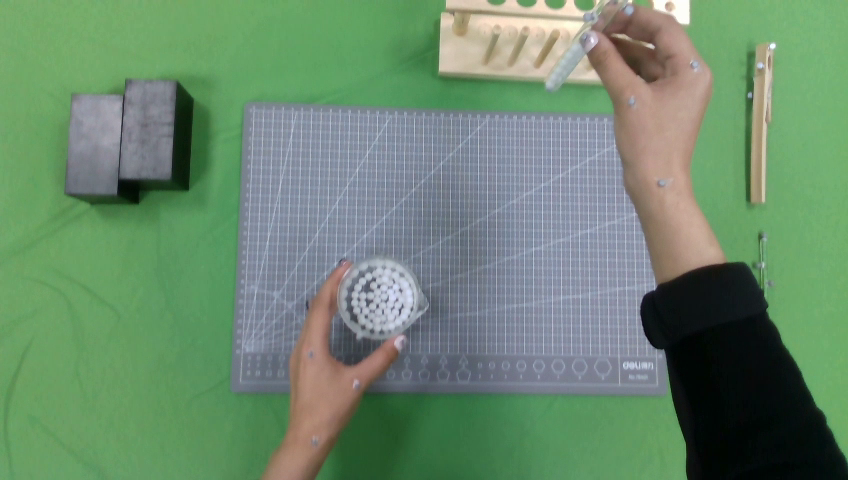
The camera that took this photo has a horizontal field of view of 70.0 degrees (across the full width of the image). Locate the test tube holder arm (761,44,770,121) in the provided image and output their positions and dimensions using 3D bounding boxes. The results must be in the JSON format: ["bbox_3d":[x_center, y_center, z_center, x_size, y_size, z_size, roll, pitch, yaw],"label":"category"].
[{"bbox_3d":[0.377,-0.175,0.678,0.010,0.015,0.087,12,82,-32],"label":"test tube holder arm"}]

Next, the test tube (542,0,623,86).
[{"bbox_3d":[0.119,-0.154,0.458,0.017,0.150,0.017,2,79,-8],"label":"test tube"}]

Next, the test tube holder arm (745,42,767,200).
[{"bbox_3d":[0.367,-0.132,0.669,0.013,0.015,0.178,11,82,-33],"label":"test tube holder arm"}]

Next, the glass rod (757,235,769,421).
[{"bbox_3d":[0.364,0.093,0.652,0.008,0.008,0.199,3,83,-3],"label":"glass rod"}]

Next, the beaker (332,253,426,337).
[{"bbox_3d":[-0.042,0.055,0.584,0.084,0.100,0.074,10,83,-2],"label":"beaker"}]

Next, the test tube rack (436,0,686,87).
[{"bbox_3d":[0.136,-0.213,0.634,0.242,0.085,0.066,2,83,-3],"label":"test tube rack"}]
